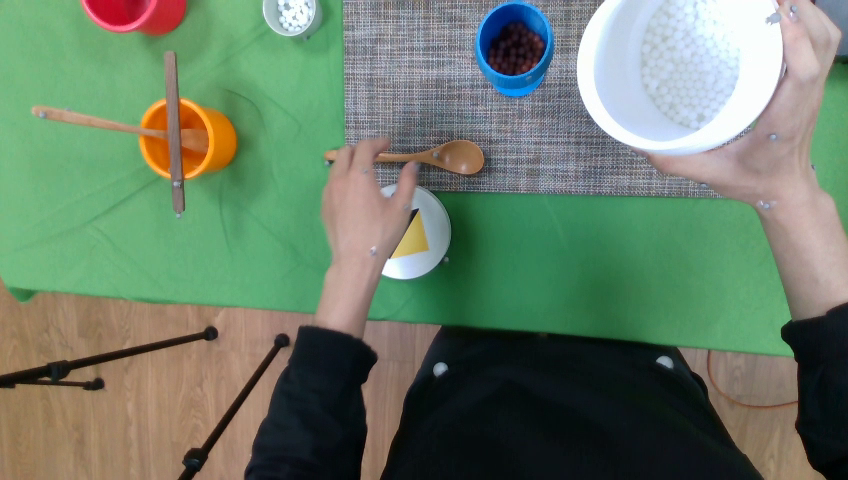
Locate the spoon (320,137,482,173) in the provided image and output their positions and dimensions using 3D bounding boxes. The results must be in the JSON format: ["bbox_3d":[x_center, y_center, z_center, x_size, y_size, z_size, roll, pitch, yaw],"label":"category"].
[{"bbox_3d":[-0.029,-0.098,0.699,0.193,0.021,0.042,1,122,8],"label":"spoon"}]

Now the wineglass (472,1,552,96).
[{"bbox_3d":[0.086,-0.180,0.591,0.073,0.172,0.074,1,99,9],"label":"wineglass"}]

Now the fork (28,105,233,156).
[{"bbox_3d":[-0.319,-0.122,0.678,0.209,0.018,0.028,6,111,-37],"label":"fork"}]

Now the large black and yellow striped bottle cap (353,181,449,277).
[{"bbox_3d":[-0.028,-0.012,0.720,0.115,0.018,0.115,2,104,7],"label":"large black and yellow striped bottle cap"}]

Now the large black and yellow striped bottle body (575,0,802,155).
[{"bbox_3d":[0.199,-0.137,0.453,0.130,0.184,0.131,14,115,33],"label":"large black and yellow striped bottle body"}]

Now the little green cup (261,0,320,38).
[{"bbox_3d":[-0.149,-0.259,0.685,0.061,0.038,0.062,2,100,9],"label":"little green cup"}]

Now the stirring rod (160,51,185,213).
[{"bbox_3d":[-0.278,-0.117,0.670,0.014,0.006,0.176,2,100,10],"label":"stirring rod"}]
